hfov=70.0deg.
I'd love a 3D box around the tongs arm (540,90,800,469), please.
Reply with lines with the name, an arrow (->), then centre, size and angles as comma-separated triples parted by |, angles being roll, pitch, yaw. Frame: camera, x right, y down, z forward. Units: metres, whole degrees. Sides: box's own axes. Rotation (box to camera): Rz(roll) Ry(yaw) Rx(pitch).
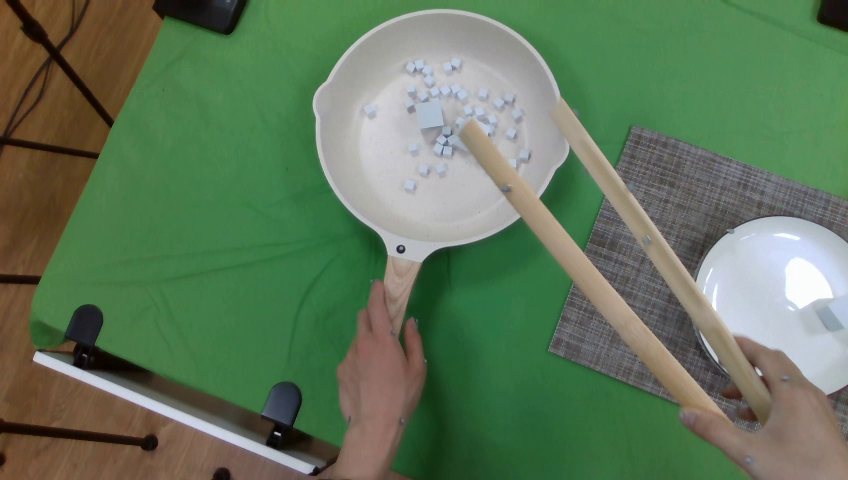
tongs arm -> 0.202, 0.021, 0.540 | 0.051, 0.026, 0.382 | -20, 71, -37

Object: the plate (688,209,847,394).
plate -> 0.401, 0.069, 0.690 | 0.207, 0.039, 0.207 | -1, 80, 4

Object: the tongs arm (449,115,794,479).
tongs arm -> 0.150, 0.043, 0.498 | 0.386, 0.028, 0.028 | 50, 46, 9

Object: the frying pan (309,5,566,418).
frying pan -> -0.012, -0.039, 0.704 | 0.306, 0.103, 0.485 | 14, 73, 7
